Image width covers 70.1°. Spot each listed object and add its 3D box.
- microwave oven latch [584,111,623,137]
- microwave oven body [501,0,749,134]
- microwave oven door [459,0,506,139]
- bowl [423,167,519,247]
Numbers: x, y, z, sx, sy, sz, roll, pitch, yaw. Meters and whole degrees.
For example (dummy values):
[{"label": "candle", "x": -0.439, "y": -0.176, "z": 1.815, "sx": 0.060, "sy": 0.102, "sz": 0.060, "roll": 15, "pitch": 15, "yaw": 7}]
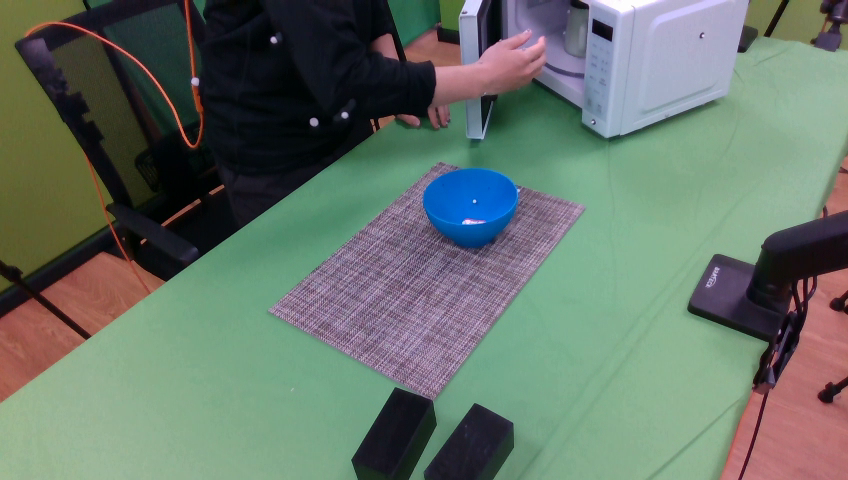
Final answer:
[{"label": "microwave oven latch", "x": 0.337, "y": -0.222, "z": 1.142, "sx": 0.030, "sy": 0.029, "sz": 0.078, "roll": -21, "pitch": 42, "yaw": -14}, {"label": "microwave oven body", "x": 0.382, "y": -0.444, "z": 1.246, "sx": 0.327, "sy": 0.261, "sz": 0.437, "roll": -22, "pitch": 42, "yaw": -16}, {"label": "microwave oven door", "x": 0.125, "y": -0.403, "z": 1.226, "sx": 0.039, "sy": 0.245, "sz": 0.355, "roll": 2, "pitch": 42, "yaw": 14}, {"label": "bowl", "x": 0.075, "y": -0.041, "z": 0.958, "sx": 0.151, "sy": 0.077, "sz": 0.150, "roll": -4, "pitch": 41, "yaw": 4}]
